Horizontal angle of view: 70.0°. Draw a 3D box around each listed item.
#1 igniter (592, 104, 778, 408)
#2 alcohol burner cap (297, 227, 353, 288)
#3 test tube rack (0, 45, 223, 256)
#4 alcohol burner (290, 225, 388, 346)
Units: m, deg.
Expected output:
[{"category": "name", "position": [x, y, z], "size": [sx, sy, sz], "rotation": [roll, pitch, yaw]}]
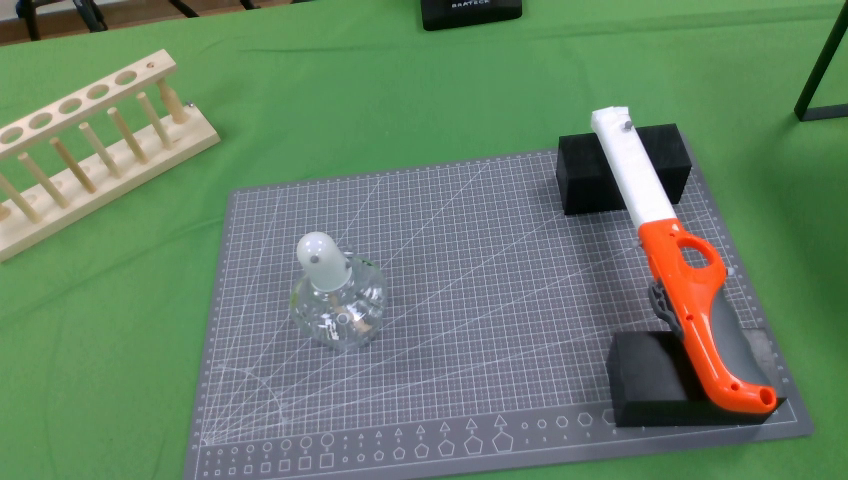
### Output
[{"category": "igniter", "position": [0.179, -0.005, 0.447], "size": [0.057, 0.025, 0.273], "rotation": [-10, 52, 2]}, {"category": "alcohol burner cap", "position": [-0.072, 0.010, 0.434], "size": [0.034, 0.048, 0.033], "rotation": [-6, 57, 9]}, {"category": "test tube rack", "position": [-0.338, -0.092, 0.606], "size": [0.242, 0.086, 0.066], "rotation": [-33, 57, -16]}, {"category": "alcohol burner", "position": [-0.069, 0.031, 0.462], "size": [0.078, 0.120, 0.077], "rotation": [-4, 52, 6]}]
